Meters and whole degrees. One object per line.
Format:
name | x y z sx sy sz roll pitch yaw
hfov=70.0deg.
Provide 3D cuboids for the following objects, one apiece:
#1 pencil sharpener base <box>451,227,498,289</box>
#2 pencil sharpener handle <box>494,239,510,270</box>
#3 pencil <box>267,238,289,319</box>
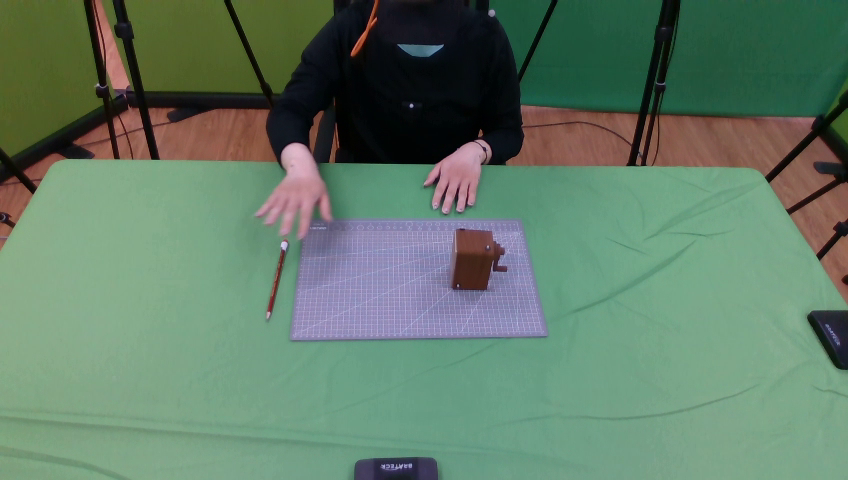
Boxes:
pencil sharpener base | 0.091 0.034 1.103 0.077 0.107 0.061 3 46 -1
pencil sharpener handle | 0.143 0.029 1.094 0.030 0.068 0.036 3 42 -1
pencil | -0.271 0.068 1.119 0.012 0.012 0.193 3 47 -1
